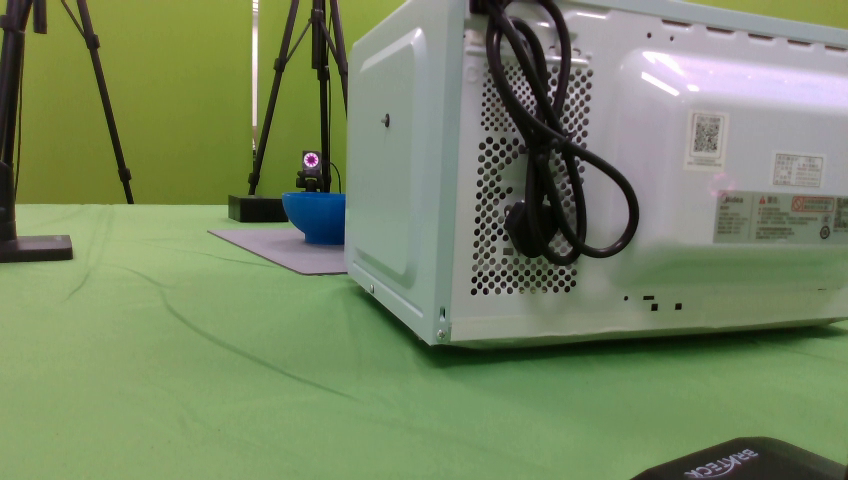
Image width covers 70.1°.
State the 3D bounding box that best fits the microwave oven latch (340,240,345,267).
[{"bbox_3d":[-0.052,0.016,0.662,0.079,0.029,0.030,1,7,-18],"label":"microwave oven latch"}]

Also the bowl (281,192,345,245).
[{"bbox_3d":[-0.158,-0.035,0.991,0.151,0.077,0.151,3,7,0],"label":"bowl"}]

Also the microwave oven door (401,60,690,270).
[{"bbox_3d":[0.154,-0.088,0.753,0.357,0.243,0.039,1,8,-10],"label":"microwave oven door"}]

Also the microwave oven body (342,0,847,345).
[{"bbox_3d":[0.169,-0.060,0.573,0.444,0.260,0.324,1,7,-20],"label":"microwave oven body"}]
